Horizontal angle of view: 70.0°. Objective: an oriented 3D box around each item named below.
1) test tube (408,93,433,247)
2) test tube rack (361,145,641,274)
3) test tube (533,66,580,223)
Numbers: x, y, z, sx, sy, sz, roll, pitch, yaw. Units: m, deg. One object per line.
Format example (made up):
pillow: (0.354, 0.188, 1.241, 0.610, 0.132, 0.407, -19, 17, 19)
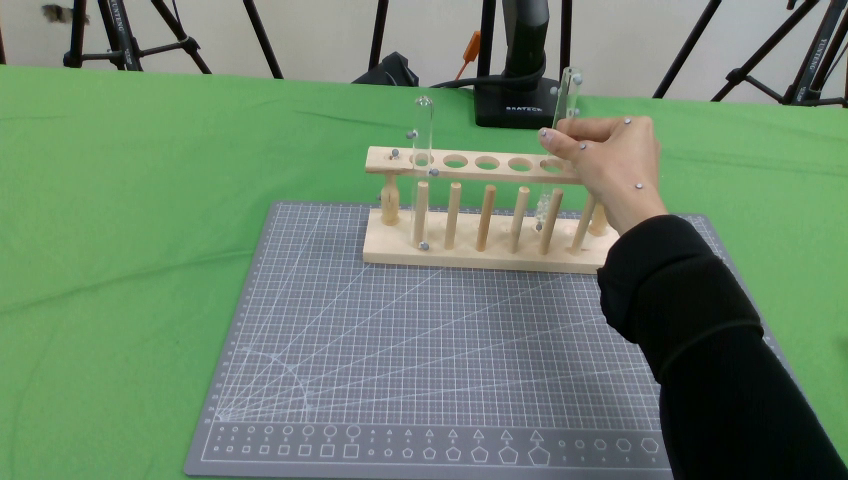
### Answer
test tube: (-0.003, -0.054, 0.508, 0.017, 0.152, 0.017, 2, 41, -1)
test tube rack: (0.066, -0.028, 0.552, 0.242, 0.086, 0.066, 3, 41, -1)
test tube: (0.115, -0.079, 0.533, 0.017, 0.151, 0.017, 3, 36, -2)
